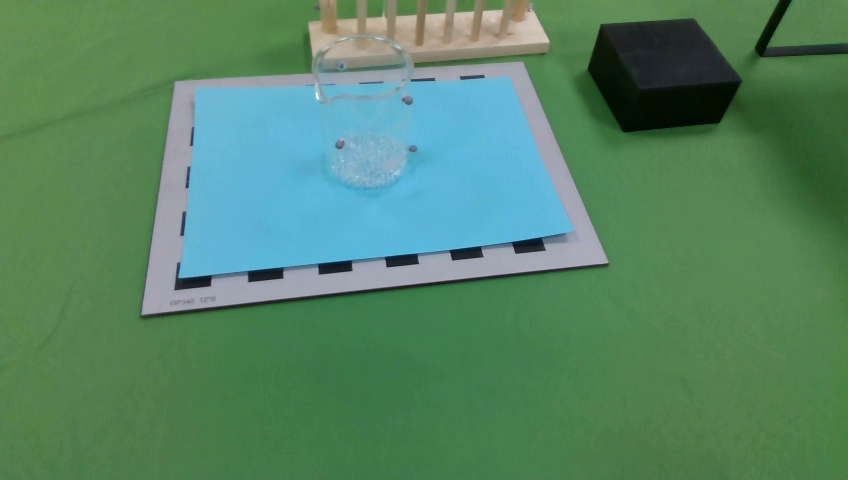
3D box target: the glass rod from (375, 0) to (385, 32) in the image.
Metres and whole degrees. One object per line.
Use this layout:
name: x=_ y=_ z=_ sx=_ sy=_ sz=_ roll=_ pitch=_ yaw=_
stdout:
glass rod: x=-0.029 y=-0.285 z=0.561 sx=0.008 sy=0.201 sz=0.008 roll=8 pitch=46 yaw=-8

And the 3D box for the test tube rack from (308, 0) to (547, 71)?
test tube rack: x=0.005 y=-0.233 z=0.606 sx=0.243 sy=0.086 sz=0.066 roll=-7 pitch=52 yaw=-9

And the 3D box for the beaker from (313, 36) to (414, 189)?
beaker: x=-0.049 y=-0.095 z=0.479 sx=0.073 sy=0.101 sz=0.084 roll=32 pitch=57 yaw=21
